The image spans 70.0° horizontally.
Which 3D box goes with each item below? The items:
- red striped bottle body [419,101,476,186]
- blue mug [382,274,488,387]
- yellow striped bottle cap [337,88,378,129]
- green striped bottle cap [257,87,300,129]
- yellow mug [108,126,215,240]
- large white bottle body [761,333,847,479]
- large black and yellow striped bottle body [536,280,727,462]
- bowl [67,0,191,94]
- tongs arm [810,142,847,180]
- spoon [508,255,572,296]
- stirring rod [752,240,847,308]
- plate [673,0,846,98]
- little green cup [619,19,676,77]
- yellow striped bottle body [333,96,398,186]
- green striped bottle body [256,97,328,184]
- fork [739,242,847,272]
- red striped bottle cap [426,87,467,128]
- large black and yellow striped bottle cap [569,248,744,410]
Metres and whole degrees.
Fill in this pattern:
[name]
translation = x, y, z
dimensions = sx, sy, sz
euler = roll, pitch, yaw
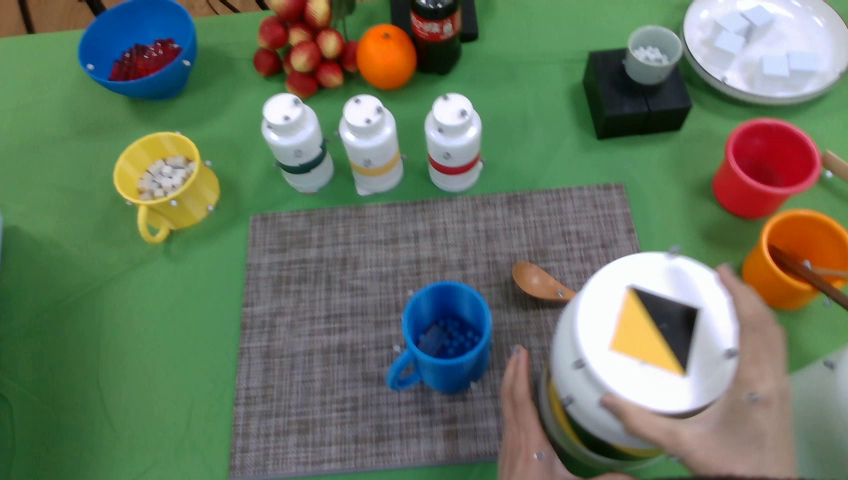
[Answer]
[red striped bottle body]
translation = 0.027, -0.118, 0.692
dimensions = 0.063, 0.120, 0.062
euler = -2, 63, 3
[blue mug]
translation = 0.008, 0.101, 0.592
dimensions = 0.116, 0.107, 0.081
euler = -36, 67, -13
[yellow striped bottle cap]
translation = -0.072, -0.142, 0.651
dimensions = 0.044, 0.019, 0.044
euler = 1, 61, -1
[green striped bottle cap]
translation = -0.158, -0.144, 0.658
dimensions = 0.044, 0.020, 0.044
euler = -1, 63, 3
[yellow mug]
translation = -0.313, -0.062, 0.716
dimensions = 0.100, 0.064, 0.130
euler = 4, 65, 6
[large white bottle body]
translation = 0.386, 0.142, 0.507
dimensions = 0.130, 0.186, 0.129
euler = -1, 64, 3
[large black and yellow striped bottle body]
translation = 0.165, 0.100, 0.495
dimensions = 0.131, 0.185, 0.129
euler = -2, 60, 4
[bowl]
translation = -0.373, -0.248, 0.803
dimensions = 0.151, 0.077, 0.150
euler = -1, 64, 3
[tongs arm]
translation = 0.596, 0.006, 0.643
dimensions = 0.051, 0.027, 0.382
euler = -38, 68, -18
[spoon]
translation = 0.178, 0.066, 0.644
dimensions = 0.193, 0.022, 0.041
euler = 24, 46, 13
[stirring rod]
translation = 0.371, 0.032, 0.590
dimensions = 0.014, 0.006, 0.175
euler = -2, 21, 0
[plate]
translation = 0.425, -0.264, 0.782
dimensions = 0.209, 0.038, 0.207
euler = -1, 65, 3
[little green cup]
translation = 0.261, -0.225, 0.717
dimensions = 0.061, 0.039, 0.061
euler = -1, 62, 2
[yellow striped bottle body]
translation = -0.067, -0.119, 0.698
dimensions = 0.063, 0.121, 0.062
euler = -2, 63, 4
[green striped bottle body]
translation = -0.154, -0.121, 0.704
dimensions = 0.063, 0.120, 0.062
euler = -1, 64, 3
[fork]
translation = 0.400, 0.030, 0.580
dimensions = 0.028, 0.019, 0.205
euler = -30, 21, -19
[red striped bottle cap]
translation = 0.024, -0.142, 0.645
dimensions = 0.044, 0.018, 0.044
euler = 0, 62, 0
[large black and yellow striped bottle cap]
translation = 0.159, 0.059, 0.420
dimensions = 0.115, 0.019, 0.114
euler = -3, 63, 6
